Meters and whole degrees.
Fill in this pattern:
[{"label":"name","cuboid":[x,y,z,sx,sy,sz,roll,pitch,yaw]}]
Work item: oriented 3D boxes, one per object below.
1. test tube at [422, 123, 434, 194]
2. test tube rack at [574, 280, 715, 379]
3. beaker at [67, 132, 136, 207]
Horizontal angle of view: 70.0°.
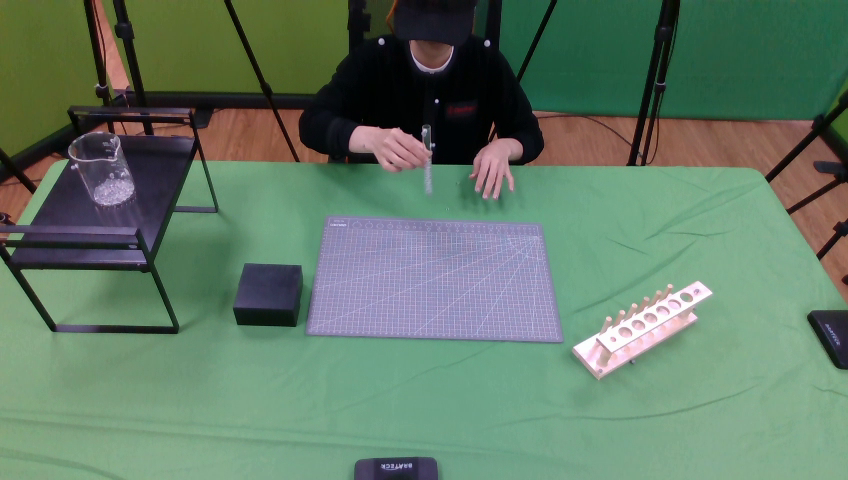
[{"label":"test tube","cuboid":[0.008,-0.147,1.116,0.017,0.151,0.017,-2,42,2]},{"label":"test tube rack","cuboid":[0.378,0.140,1.038,0.242,0.085,0.066,-22,51,-23]},{"label":"beaker","cuboid":[-0.504,-0.109,0.961,0.083,0.101,0.074,25,50,19]}]
